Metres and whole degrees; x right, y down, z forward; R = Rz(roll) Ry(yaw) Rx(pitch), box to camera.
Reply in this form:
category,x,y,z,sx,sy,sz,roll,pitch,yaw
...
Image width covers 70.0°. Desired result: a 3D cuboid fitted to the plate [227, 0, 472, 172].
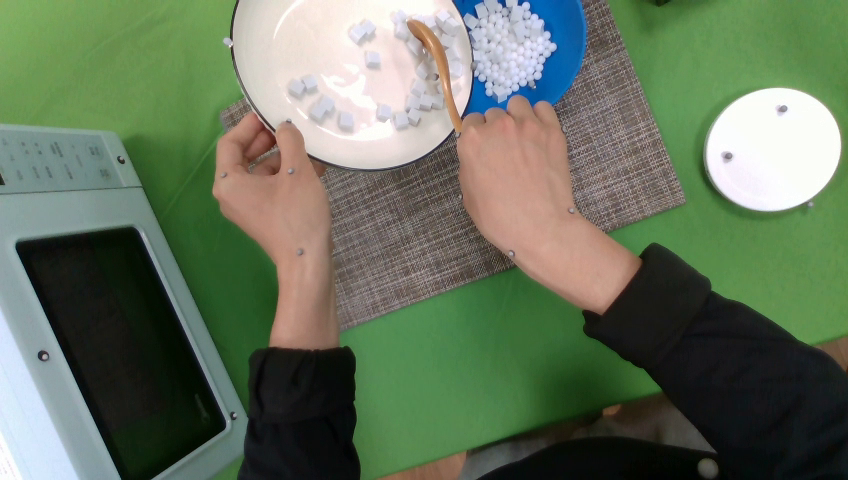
category,x,y,z,sx,sy,sz,roll,pitch,yaw
plate,-0.061,-0.158,0.526,0.210,0.038,0.208,3,82,-19

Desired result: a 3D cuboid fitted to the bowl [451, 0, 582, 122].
category,x,y,z,sx,sy,sz,roll,pitch,yaw
bowl,0.080,-0.189,0.591,0.151,0.077,0.151,3,99,17

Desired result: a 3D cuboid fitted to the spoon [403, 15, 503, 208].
category,x,y,z,sx,sy,sz,roll,pitch,yaw
spoon,0.024,-0.110,0.511,0.021,0.042,0.192,-21,76,4

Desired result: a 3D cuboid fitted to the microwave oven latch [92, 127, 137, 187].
category,x,y,z,sx,sy,sz,roll,pitch,yaw
microwave oven latch,-0.390,-0.100,0.751,0.030,0.029,0.079,-24,92,18

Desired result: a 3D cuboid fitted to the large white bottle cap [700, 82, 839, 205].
category,x,y,z,sx,sy,sz,roll,pitch,yaw
large white bottle cap,0.323,-0.089,0.569,0.114,0.018,0.115,2,99,16

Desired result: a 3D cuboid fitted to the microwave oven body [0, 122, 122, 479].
category,x,y,z,sx,sy,sz,roll,pitch,yaw
microwave oven body,-0.472,0.132,0.709,0.326,0.260,0.441,-25,91,18

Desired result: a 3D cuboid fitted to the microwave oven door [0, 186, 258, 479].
category,x,y,z,sx,sy,sz,roll,pitch,yaw
microwave oven door,-0.330,0.113,0.659,0.039,0.244,0.355,-25,90,19
